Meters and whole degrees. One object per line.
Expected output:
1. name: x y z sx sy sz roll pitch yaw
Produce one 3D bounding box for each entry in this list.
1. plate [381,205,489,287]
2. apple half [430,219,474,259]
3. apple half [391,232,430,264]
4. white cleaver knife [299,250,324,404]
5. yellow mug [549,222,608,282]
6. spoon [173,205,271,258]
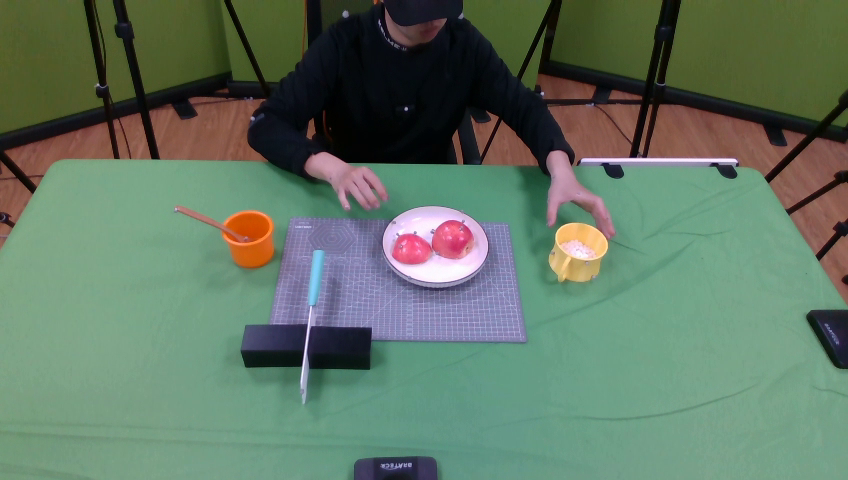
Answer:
1. plate: 0.021 0.015 1.170 0.209 0.038 0.208 2 46 -2
2. apple half: 0.056 -0.008 1.172 0.081 0.053 0.074 -33 59 -31
3. apple half: -0.024 0.009 1.163 0.081 0.033 0.081 2 43 -2
4. white cleaver knife: -0.194 0.134 1.019 0.021 0.066 0.284 5 50 -5
5. yellow mug: 0.287 0.031 1.159 0.099 0.064 0.130 27 51 21
6. spoon: -0.362 -0.017 1.098 0.021 0.195 0.041 -32 42 27
